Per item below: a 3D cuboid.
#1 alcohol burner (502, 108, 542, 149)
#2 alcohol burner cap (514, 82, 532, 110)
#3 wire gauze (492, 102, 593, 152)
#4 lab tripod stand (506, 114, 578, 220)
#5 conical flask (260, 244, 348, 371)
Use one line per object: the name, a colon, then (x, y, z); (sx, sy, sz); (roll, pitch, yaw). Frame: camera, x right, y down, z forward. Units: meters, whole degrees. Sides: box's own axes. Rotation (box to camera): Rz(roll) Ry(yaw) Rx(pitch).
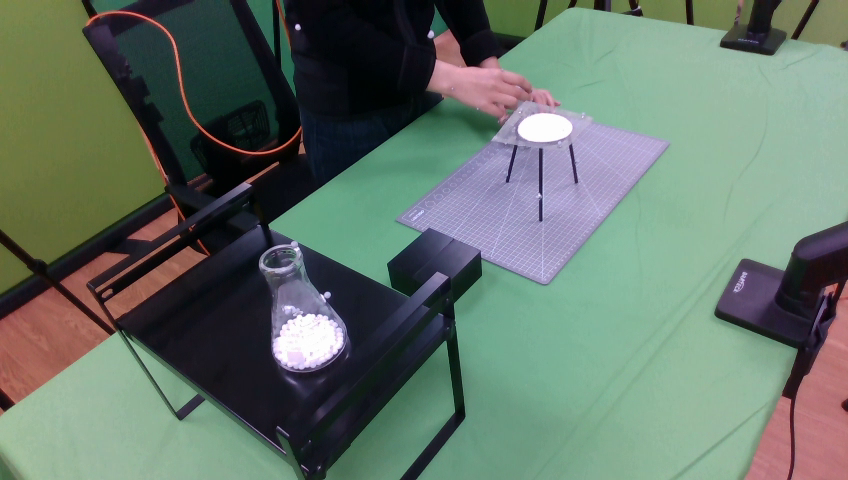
alcohol burner: (0.186, -0.235, 1.149); (0.078, 0.119, 0.077); (-4, 43, 5)
alcohol burner cap: (0.182, -0.269, 1.117); (0.034, 0.048, 0.033); (-6, 49, 7)
wire gauze: (0.190, -0.180, 0.964); (0.120, 0.011, 0.125); (19, 48, 27)
lab tripod stand: (0.198, -0.128, 1.005); (0.148, 0.132, 0.147); (-3, 42, 3)
conical flask: (-0.118, 0.060, 0.565); (0.075, 0.122, 0.075); (-5, 41, 4)
